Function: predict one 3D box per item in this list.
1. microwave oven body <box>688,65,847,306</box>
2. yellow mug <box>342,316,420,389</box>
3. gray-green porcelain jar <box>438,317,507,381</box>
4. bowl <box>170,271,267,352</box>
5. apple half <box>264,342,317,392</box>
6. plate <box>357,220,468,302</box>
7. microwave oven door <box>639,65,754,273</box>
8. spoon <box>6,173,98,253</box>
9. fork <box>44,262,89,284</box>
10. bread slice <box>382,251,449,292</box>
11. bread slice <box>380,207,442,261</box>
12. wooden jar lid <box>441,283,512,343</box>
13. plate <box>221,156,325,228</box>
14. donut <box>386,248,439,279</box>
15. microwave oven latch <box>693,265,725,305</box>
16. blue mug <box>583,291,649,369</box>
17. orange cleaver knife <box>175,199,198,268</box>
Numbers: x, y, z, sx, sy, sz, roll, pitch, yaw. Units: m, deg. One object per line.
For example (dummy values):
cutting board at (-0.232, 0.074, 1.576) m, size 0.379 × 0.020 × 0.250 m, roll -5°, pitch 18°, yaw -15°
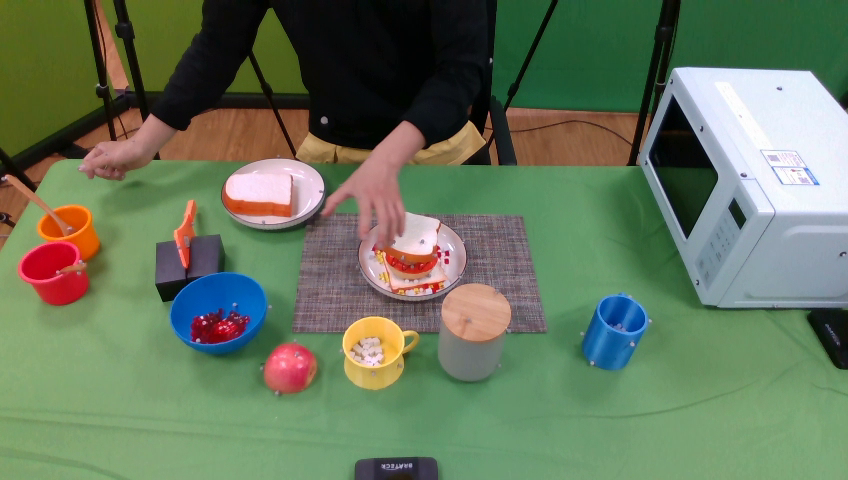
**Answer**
microwave oven body at (0.669, -0.111, 1.176) m, size 0.326 × 0.261 × 0.439 m, roll 0°, pitch 46°, yaw -3°
yellow mug at (-0.067, 0.178, 0.990) m, size 0.131 × 0.064 × 0.099 m, roll -16°, pitch 49°, yaw -19°
gray-green porcelain jar at (0.076, 0.158, 0.977) m, size 0.106 × 0.127 × 0.105 m, roll 2°, pitch 47°, yaw -2°
bowl at (-0.333, 0.132, 1.006) m, size 0.151 × 0.077 × 0.150 m, roll 2°, pitch 46°, yaw -2°
apple half at (-0.214, 0.198, 0.970) m, size 0.074 × 0.053 × 0.080 m, roll 19°, pitch 48°, yaw 11°
plate at (-0.021, 0.037, 1.141) m, size 0.208 × 0.039 × 0.206 m, roll 2°, pitch 46°, yaw -2°
microwave oven door at (0.522, -0.147, 1.192) m, size 0.039 × 0.245 × 0.353 m, roll 0°, pitch 47°, yaw -3°
spoon at (-0.678, -0.050, 1.106) m, size 0.021 × 0.194 × 0.041 m, roll -19°, pitch 27°, yaw 43°
fork at (-0.598, 0.054, 1.014) m, size 0.207 × 0.019 × 0.028 m, roll -15°, pitch 29°, yaw 45°
bread slice at (-0.027, 0.039, 1.139) m, size 0.107 × 0.018 × 0.133 m, roll -12°, pitch 47°, yaw -16°
bread slice at (-0.023, -0.011, 1.062) m, size 0.105 × 0.019 × 0.131 m, roll 13°, pitch 36°, yaw -3°
wooden jar lid at (0.080, 0.114, 0.931) m, size 0.108 × 0.021 × 0.107 m, roll 1°, pitch 49°, yaw -1°
plate at (-0.308, -0.095, 1.251) m, size 0.209 × 0.038 × 0.208 m, roll 3°, pitch 46°, yaw -3°
donut at (-0.021, 0.029, 1.110) m, size 0.099 × 0.048 × 0.098 m, roll 2°, pitch 46°, yaw -2°
microwave oven latch at (0.523, 0.081, 1.115) m, size 0.030 × 0.029 × 0.078 m, roll 2°, pitch 46°, yaw -1°
blue mug at (0.324, 0.142, 1.023) m, size 0.082 × 0.106 × 0.116 m, roll 15°, pitch 47°, yaw 11°
orange cleaver knife at (-0.438, -0.017, 1.138) m, size 0.012 × 0.077 × 0.210 m, roll -14°, pitch 27°, yaw -7°
